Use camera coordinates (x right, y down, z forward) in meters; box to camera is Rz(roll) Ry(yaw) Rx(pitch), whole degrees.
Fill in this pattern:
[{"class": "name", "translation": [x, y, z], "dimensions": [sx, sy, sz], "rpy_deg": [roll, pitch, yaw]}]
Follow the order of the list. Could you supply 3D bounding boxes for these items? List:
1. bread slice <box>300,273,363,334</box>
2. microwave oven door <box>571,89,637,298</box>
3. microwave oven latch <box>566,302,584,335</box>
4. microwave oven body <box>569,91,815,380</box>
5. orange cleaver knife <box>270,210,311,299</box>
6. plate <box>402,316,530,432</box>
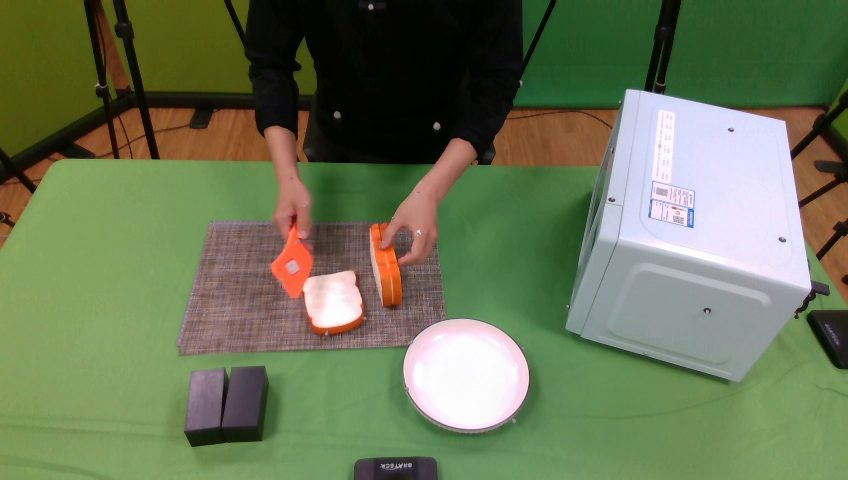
[{"class": "bread slice", "translation": [-0.164, 0.113, 1.076], "dimensions": [0.107, 0.018, 0.133], "rpy_deg": [-11, 39, -7]}, {"class": "microwave oven door", "translation": [0.343, -0.091, 1.132], "dimensions": [0.039, 0.245, 0.354], "rpy_deg": [15, 47, 10]}, {"class": "microwave oven latch", "translation": [0.268, 0.126, 1.059], "dimensions": [0.030, 0.029, 0.079], "rpy_deg": [16, 46, 12]}, {"class": "microwave oven body", "translation": [0.468, -0.022, 1.082], "dimensions": [0.325, 0.261, 0.440], "rpy_deg": [15, 46, 11]}, {"class": "orange cleaver knife", "translation": [-0.222, 0.021, 1.050], "dimensions": [0.012, 0.077, 0.210], "rpy_deg": [-29, 29, 18]}, {"class": "plate", "translation": [0.066, 0.217, 0.982], "dimensions": [0.208, 0.039, 0.206], "rpy_deg": [2, 46, -2]}]
